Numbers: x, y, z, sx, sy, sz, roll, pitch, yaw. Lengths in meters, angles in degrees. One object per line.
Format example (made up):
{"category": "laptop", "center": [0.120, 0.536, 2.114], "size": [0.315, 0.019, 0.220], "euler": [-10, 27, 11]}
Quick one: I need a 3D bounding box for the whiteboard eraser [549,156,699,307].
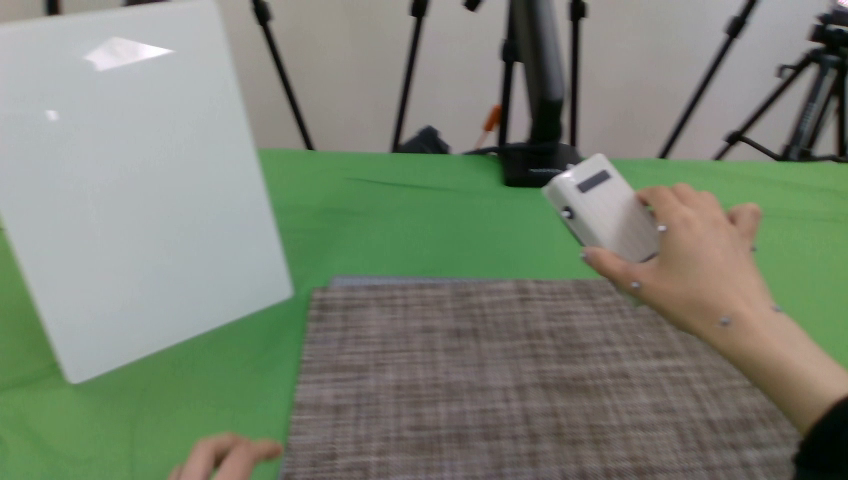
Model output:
{"category": "whiteboard eraser", "center": [0.149, -0.007, 0.461], "size": [0.055, 0.042, 0.112], "euler": [-29, 73, -24]}

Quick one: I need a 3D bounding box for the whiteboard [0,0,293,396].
{"category": "whiteboard", "center": [-0.291, -0.051, 0.592], "size": [0.217, 0.307, 0.142], "euler": [-23, 22, -30]}
